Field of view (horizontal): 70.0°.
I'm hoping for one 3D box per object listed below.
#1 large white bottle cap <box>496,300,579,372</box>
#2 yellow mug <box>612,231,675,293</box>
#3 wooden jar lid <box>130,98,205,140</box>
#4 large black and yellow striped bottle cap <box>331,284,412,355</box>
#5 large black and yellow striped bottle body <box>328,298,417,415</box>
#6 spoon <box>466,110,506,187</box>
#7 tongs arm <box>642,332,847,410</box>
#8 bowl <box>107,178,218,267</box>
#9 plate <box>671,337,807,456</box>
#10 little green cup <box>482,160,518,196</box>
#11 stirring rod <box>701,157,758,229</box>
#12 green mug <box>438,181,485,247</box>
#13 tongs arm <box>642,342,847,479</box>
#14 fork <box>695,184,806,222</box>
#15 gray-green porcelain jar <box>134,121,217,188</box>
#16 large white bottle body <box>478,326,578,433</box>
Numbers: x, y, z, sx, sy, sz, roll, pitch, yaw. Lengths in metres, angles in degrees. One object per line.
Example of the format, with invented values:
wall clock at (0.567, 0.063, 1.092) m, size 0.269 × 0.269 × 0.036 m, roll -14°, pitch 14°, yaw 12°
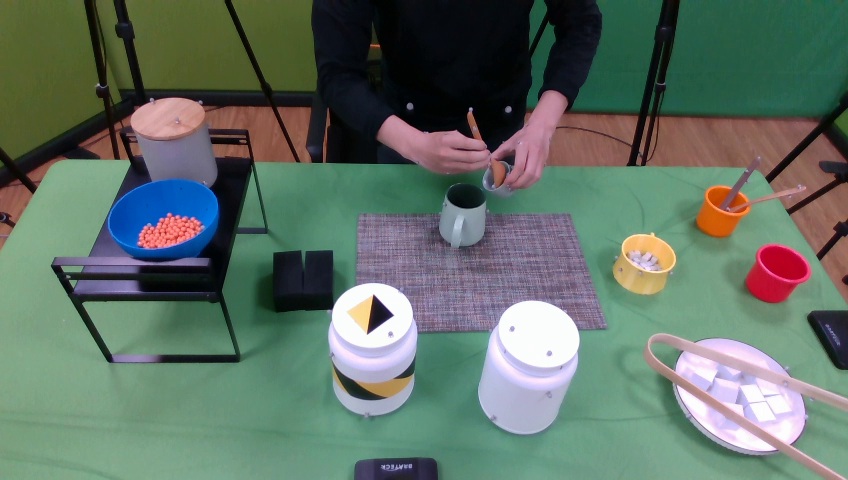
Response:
large white bottle cap at (0.160, 0.133, 0.852) m, size 0.115 × 0.018 × 0.114 m, roll 3°, pitch 46°, yaw -3°
yellow mug at (0.424, 0.033, 1.168) m, size 0.100 × 0.064 × 0.130 m, roll 18°, pitch 46°, yaw 13°
wooden jar lid at (-0.393, -0.183, 0.934) m, size 0.108 × 0.021 × 0.107 m, roll 2°, pitch 44°, yaw -2°
large black and yellow striped bottle cap at (-0.073, 0.110, 0.858) m, size 0.115 × 0.019 × 0.114 m, roll 2°, pitch 46°, yaw -2°
large black and yellow striped bottle body at (-0.078, 0.167, 0.920) m, size 0.131 × 0.185 × 0.130 m, roll 2°, pitch 46°, yaw -2°
spoon at (0.106, -0.154, 1.042) m, size 0.021 × 0.195 × 0.041 m, roll 15°, pitch 67°, yaw 37°
tongs arm at (0.546, 0.227, 0.968) m, size 0.384 × 0.026 × 0.050 m, roll 22°, pitch 52°, yaw 13°
bowl at (-0.374, -0.014, 0.893) m, size 0.151 × 0.077 × 0.150 m, roll 2°, pitch 46°, yaw -2°
plate at (0.504, 0.254, 0.984) m, size 0.208 × 0.039 × 0.206 m, roll 2°, pitch 46°, yaw -2°
little green cup at (0.142, -0.113, 1.118) m, size 0.061 × 0.039 × 0.061 m, roll -23°, pitch 52°, yaw 34°
stirring rod at (0.634, -0.097, 1.257) m, size 0.014 × 0.006 × 0.176 m, roll 38°, pitch 97°, yaw 30°
green mug at (0.071, -0.039, 1.177) m, size 0.092 × 0.105 × 0.124 m, roll 12°, pitch 47°, yaw 7°
tongs arm at (0.504, 0.279, 0.918) m, size 0.386 × 0.028 × 0.028 m, roll 33°, pitch 59°, yaw 22°
fork at (0.658, -0.074, 1.230) m, size 0.207 × 0.019 × 0.028 m, roll -23°, pitch 35°, yaw 37°
gray-green porcelain jar at (-0.396, -0.141, 0.979) m, size 0.106 × 0.127 × 0.105 m, roll 2°, pitch 47°, yaw -2°
large white bottle body at (0.156, 0.192, 0.913) m, size 0.131 × 0.185 × 0.130 m, roll 2°, pitch 46°, yaw -2°
